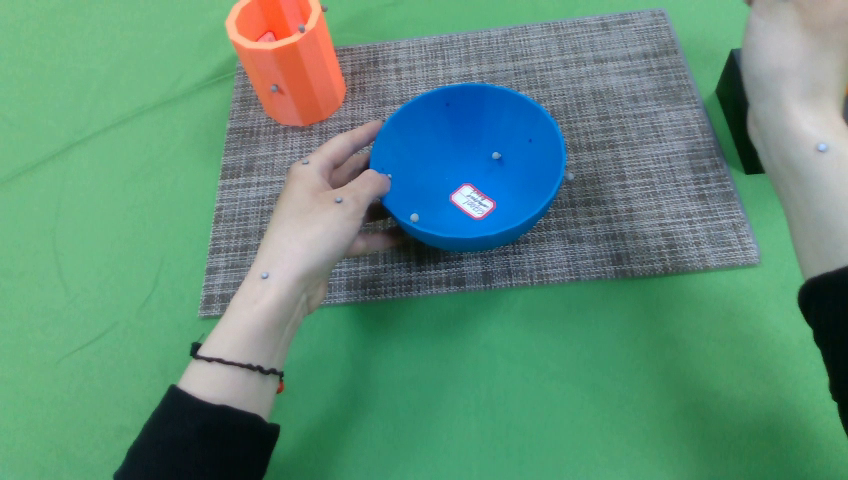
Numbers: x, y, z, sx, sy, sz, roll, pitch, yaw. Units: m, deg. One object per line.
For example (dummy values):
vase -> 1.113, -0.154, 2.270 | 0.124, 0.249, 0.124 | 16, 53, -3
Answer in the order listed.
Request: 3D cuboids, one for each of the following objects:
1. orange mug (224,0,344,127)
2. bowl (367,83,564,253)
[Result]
orange mug -> -0.127, -0.187, 0.582 | 0.083, 0.101, 0.125 | 5, 65, 10
bowl -> 0.034, -0.045, 0.490 | 0.151, 0.077, 0.150 | -3, 59, 5
